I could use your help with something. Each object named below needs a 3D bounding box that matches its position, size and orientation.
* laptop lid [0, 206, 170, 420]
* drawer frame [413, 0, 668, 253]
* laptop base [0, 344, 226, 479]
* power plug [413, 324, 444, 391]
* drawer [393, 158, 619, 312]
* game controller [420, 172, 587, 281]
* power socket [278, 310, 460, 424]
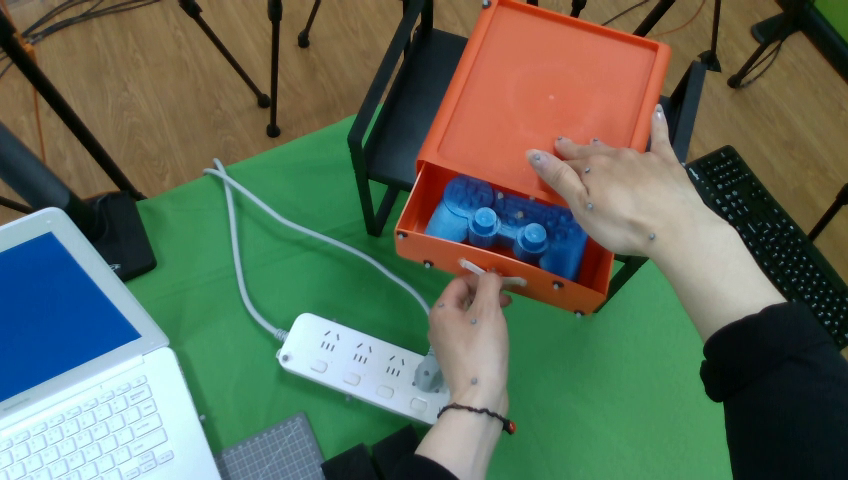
[{"bbox_3d":[-0.483,0.117,0.624,0.357,0.244,0.013,-27,47,-10],"label":"laptop lid"},{"bbox_3d":[0.118,-0.121,0.613,0.201,0.083,0.212,18,69,6],"label":"drawer frame"},{"bbox_3d":[-0.407,0.293,0.670,0.354,0.023,0.234,-26,74,-11],"label":"laptop base"},{"bbox_3d":[0.015,0.141,0.704,0.035,0.053,0.072,30,70,11],"label":"power plug"},{"bbox_3d":[0.096,-0.058,0.591,0.194,0.074,0.210,17,68,6],"label":"drawer"},{"bbox_3d":[0.080,-0.014,0.580,0.155,0.052,0.096,19,61,6],"label":"game controller"},{"bbox_3d":[-0.066,0.150,0.724,0.226,0.033,0.072,20,70,7],"label":"power socket"}]
